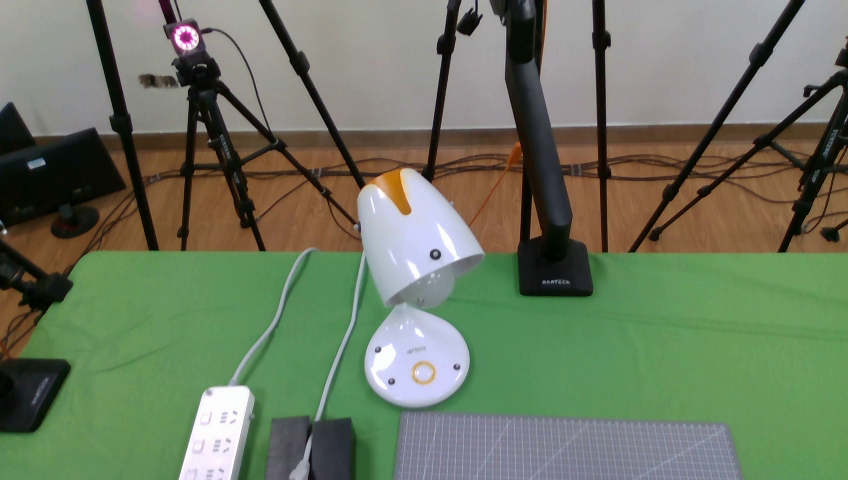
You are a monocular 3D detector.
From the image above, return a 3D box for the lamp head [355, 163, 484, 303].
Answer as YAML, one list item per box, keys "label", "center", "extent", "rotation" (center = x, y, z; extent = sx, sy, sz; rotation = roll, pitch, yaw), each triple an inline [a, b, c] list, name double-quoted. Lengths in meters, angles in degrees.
- label: "lamp head"
  center: [-0.015, -0.012, 0.602]
  extent: [0.112, 0.113, 0.122]
  rotation: [-23, 72, -16]

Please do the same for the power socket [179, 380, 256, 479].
- label: "power socket"
  center: [-0.284, 0.292, 0.824]
  extent: [0.072, 0.033, 0.224]
  rotation: [-2, 46, 2]

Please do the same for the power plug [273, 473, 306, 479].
- label: "power plug"
  center: [-0.171, 0.312, 0.732]
  extent: [0.072, 0.053, 0.035]
  rotation: [-16, 4, -3]

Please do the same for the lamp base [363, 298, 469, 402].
- label: "lamp base"
  center: [-0.023, 0.113, 0.870]
  extent: [0.161, 0.182, 0.177]
  rotation: [-21, 46, -14]
